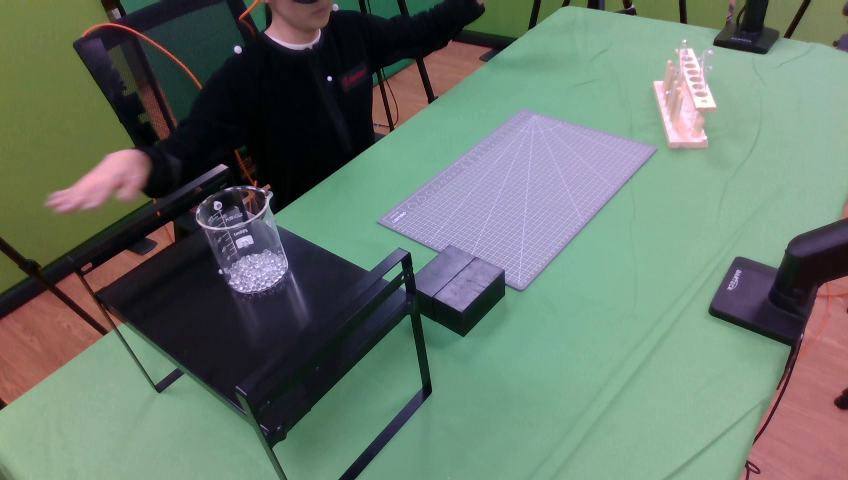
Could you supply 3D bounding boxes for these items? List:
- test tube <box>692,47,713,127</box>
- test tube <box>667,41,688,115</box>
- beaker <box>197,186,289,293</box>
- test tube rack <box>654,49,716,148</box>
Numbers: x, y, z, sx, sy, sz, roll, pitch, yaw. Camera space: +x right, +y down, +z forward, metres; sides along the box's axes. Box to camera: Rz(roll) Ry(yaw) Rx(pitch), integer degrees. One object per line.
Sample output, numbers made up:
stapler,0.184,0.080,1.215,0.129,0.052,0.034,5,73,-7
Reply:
test tube,0.501,-0.272,1.090,0.017,0.151,0.017,-5,37,4
test tube,0.477,-0.303,1.138,0.017,0.151,0.017,-5,42,5
beaker,-0.192,0.001,0.666,0.084,0.101,0.073,-33,47,-27
test tube rack,0.502,-0.281,1.176,0.066,0.085,0.241,1,41,11
